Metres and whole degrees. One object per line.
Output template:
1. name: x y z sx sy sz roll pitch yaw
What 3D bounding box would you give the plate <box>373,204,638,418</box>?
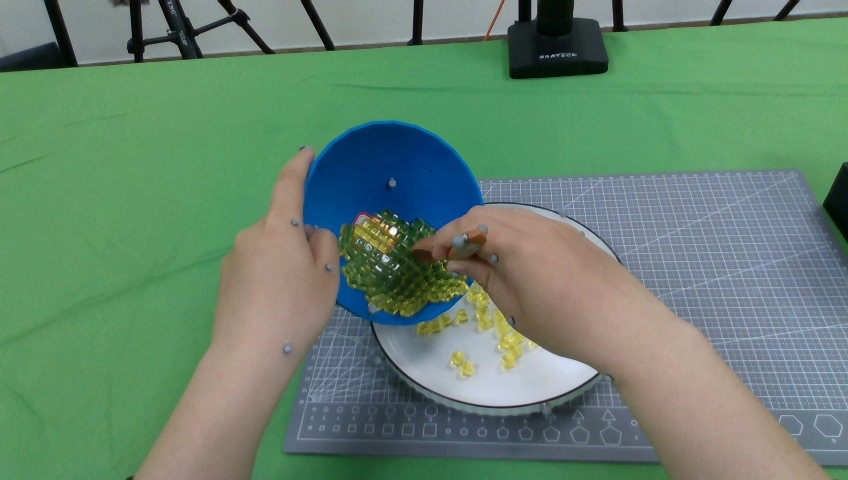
1. plate: 0.063 0.053 0.492 0.207 0.039 0.205 -4 46 4

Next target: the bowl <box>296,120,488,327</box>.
1. bowl: -0.034 -0.009 0.468 0.151 0.152 0.076 -38 13 -26

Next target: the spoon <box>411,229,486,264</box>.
1. spoon: 0.018 0.007 0.387 0.042 0.193 0.021 -3 89 -6
